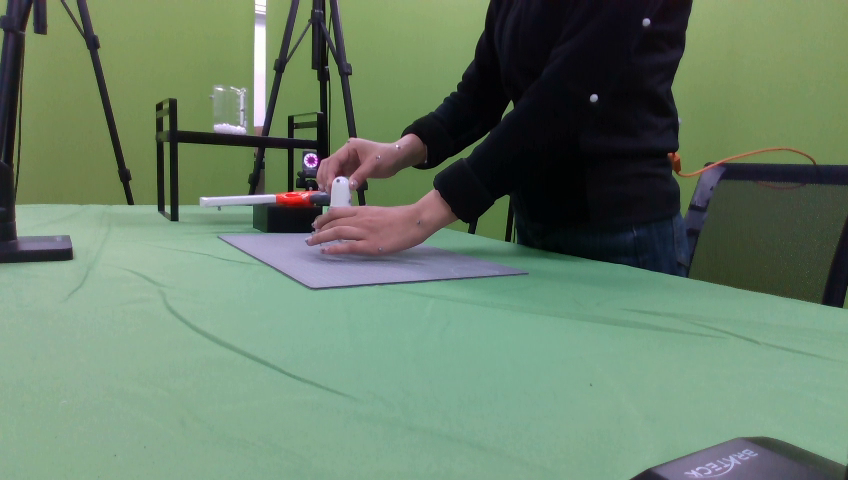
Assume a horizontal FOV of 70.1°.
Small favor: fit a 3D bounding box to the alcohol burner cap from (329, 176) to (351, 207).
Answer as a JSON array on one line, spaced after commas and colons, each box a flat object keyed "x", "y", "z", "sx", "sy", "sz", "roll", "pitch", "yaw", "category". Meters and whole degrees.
[{"x": -0.124, "y": -0.072, "z": 0.901, "sx": 0.034, "sy": 0.048, "sz": 0.034, "roll": 2, "pitch": 7, "yaw": 0, "category": "alcohol burner cap"}]

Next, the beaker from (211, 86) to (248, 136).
[{"x": -0.413, "y": -0.274, "z": 1.297, "sx": 0.074, "sy": 0.100, "sz": 0.083, "roll": -5, "pitch": 11, "yaw": -44, "category": "beaker"}]

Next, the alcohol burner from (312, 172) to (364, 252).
[{"x": -0.128, "y": -0.042, "z": 0.905, "sx": 0.078, "sy": 0.119, "sz": 0.078, "roll": 2, "pitch": 5, "yaw": 0, "category": "alcohol burner"}]

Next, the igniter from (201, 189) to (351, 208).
[{"x": -0.272, "y": -0.078, "z": 1.138, "sx": 0.278, "sy": 0.025, "sz": 0.057, "roll": -5, "pitch": 11, "yaw": -28, "category": "igniter"}]
